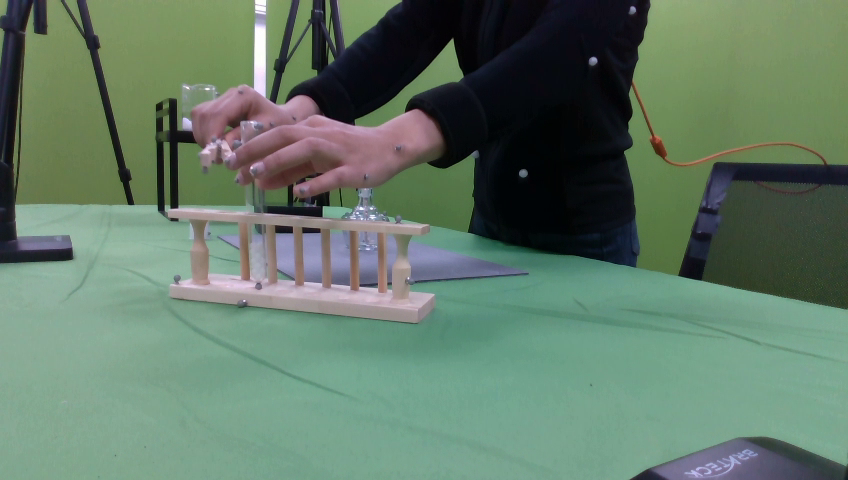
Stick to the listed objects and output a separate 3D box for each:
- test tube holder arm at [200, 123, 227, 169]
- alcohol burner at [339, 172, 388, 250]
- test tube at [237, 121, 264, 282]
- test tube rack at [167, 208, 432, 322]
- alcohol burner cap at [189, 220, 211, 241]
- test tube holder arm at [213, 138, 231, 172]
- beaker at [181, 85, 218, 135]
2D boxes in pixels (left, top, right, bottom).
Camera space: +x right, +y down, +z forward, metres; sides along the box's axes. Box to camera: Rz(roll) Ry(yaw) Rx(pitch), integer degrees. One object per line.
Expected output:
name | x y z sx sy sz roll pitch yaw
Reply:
test tube holder arm | -0.231 -0.107 0.667 0.013 0.015 0.178 12 18 -18
alcohol burner | -0.094 -0.045 0.938 0.078 0.119 0.078 0 7 0
test tube | -0.162 -0.035 0.564 0.017 0.150 0.017 -2 7 1
test tube rack | -0.116 0.018 0.573 0.242 0.085 0.067 4 8 13
alcohol burner cap | -0.366 -0.023 0.987 0.034 0.048 0.034 2 8 0
test tube holder arm | -0.213 -0.090 0.630 0.010 0.015 0.087 8 20 -29
beaker | -0.480 -0.276 1.290 0.074 0.100 0.084 2 8 -1
